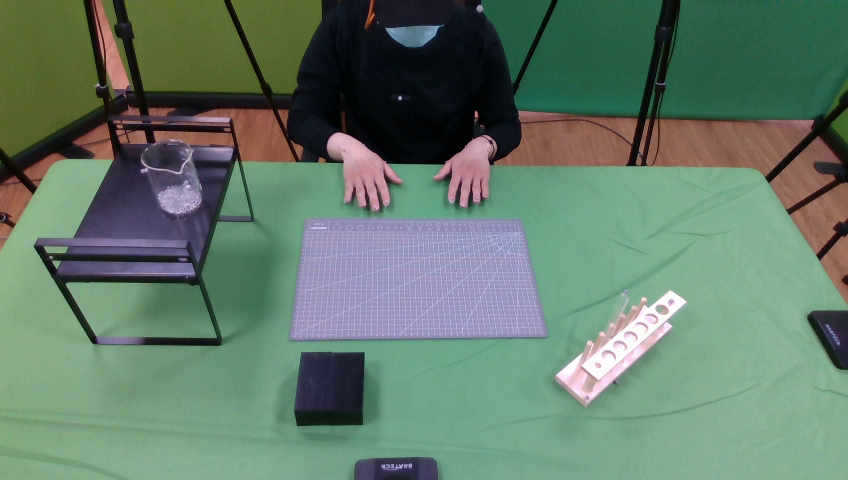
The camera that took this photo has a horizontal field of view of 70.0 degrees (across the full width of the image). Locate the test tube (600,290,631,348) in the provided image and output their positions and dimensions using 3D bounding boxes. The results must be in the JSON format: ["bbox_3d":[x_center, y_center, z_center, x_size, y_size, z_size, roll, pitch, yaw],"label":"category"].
[{"bbox_3d":[0.308,0.131,0.983,0.017,0.151,0.017,1,48,-1],"label":"test tube"}]

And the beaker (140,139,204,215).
[{"bbox_3d":[-0.391,-0.095,0.954,0.074,0.101,0.083,-30,56,-27],"label":"beaker"}]

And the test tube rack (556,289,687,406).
[{"bbox_3d":[0.332,0.165,1.014,0.242,0.085,0.066,-31,55,-28],"label":"test tube rack"}]
